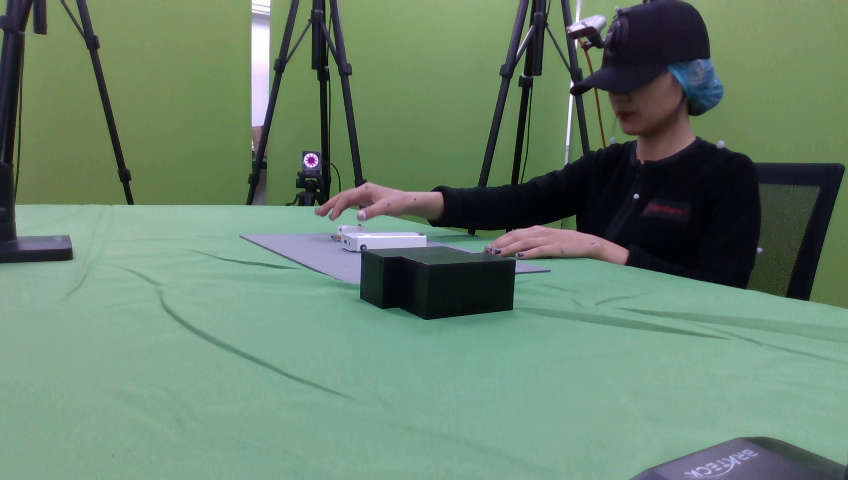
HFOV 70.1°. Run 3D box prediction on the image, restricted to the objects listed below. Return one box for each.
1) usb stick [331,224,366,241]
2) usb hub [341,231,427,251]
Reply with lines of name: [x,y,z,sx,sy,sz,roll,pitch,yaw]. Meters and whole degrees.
usb stick: [-0.128,-0.013,1.018,0.059,0.027,0.021,-7,10,-31]
usb hub: [-0.061,0.001,0.935,0.126,0.025,0.049,-2,9,-26]
